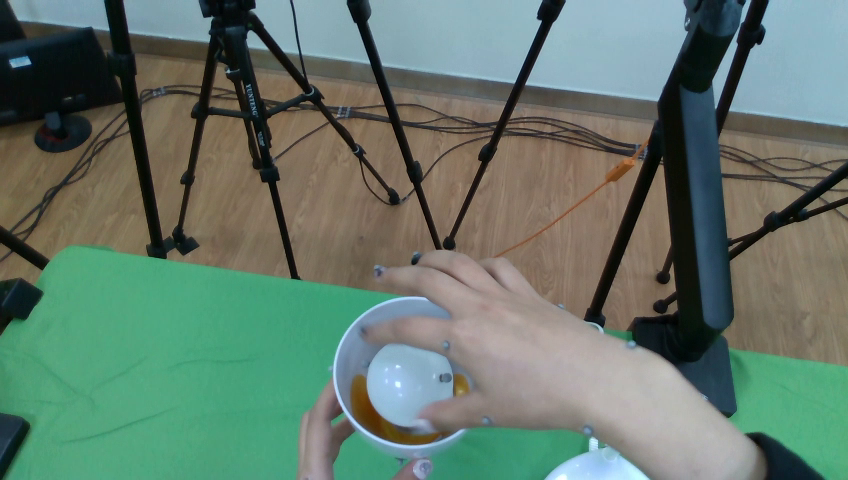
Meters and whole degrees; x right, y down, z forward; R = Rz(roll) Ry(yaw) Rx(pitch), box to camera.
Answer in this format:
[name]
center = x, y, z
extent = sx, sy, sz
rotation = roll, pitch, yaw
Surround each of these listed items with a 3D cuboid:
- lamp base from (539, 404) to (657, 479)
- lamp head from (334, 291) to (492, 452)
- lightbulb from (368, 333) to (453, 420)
[lamp base]
center = 0.197, 0.252, 0.605
extent = 0.161, 0.182, 0.177
rotation = -3, 52, -4
[lamp head]
center = -0.004, 0.114, 0.470
extent = 0.112, 0.124, 0.111
rotation = -2, 59, 3
[lightbulb]
center = -0.010, 0.105, 0.442
extent = 0.059, 0.108, 0.059
rotation = 1, 65, -1
